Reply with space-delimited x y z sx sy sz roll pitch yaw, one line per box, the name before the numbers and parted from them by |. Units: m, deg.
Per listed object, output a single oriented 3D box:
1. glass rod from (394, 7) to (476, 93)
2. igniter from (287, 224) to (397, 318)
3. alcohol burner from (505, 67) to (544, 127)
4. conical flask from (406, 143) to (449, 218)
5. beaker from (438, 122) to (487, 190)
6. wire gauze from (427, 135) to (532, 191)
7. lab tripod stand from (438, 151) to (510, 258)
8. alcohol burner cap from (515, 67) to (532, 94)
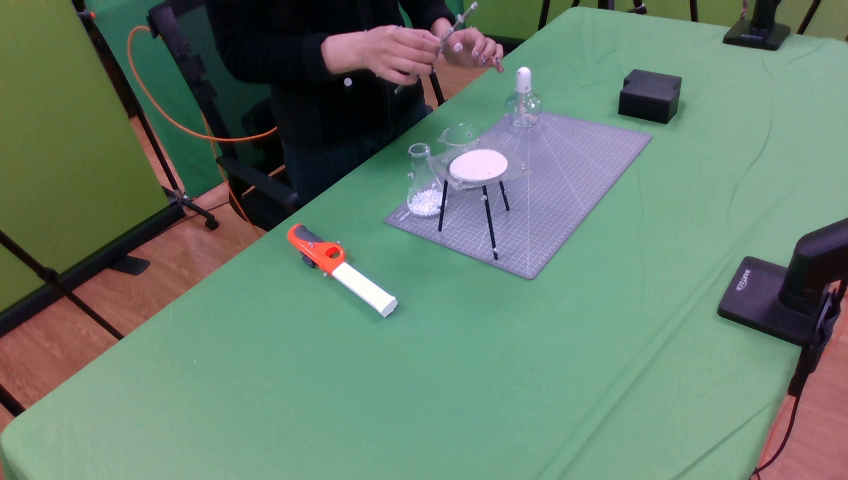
glass rod | 0.013 -0.294 0.950 0.199 0.008 0.008 -37 23 38
igniter | -0.139 0.042 0.958 0.057 0.025 0.274 -42 49 -19
alcohol burner | 0.201 -0.288 1.211 0.078 0.119 0.077 -6 38 5
conical flask | -0.001 -0.104 1.024 0.075 0.122 0.075 -6 40 5
beaker | 0.072 -0.147 1.080 0.084 0.101 0.073 -5 40 7
wire gauze | 0.081 -0.115 0.909 0.125 0.011 0.120 -18 39 -11
lab tripod stand | 0.087 -0.064 0.952 0.148 0.132 0.147 -6 38 5
alcohol burner cap | 0.197 -0.315 1.187 0.034 0.048 0.033 -3 47 3
